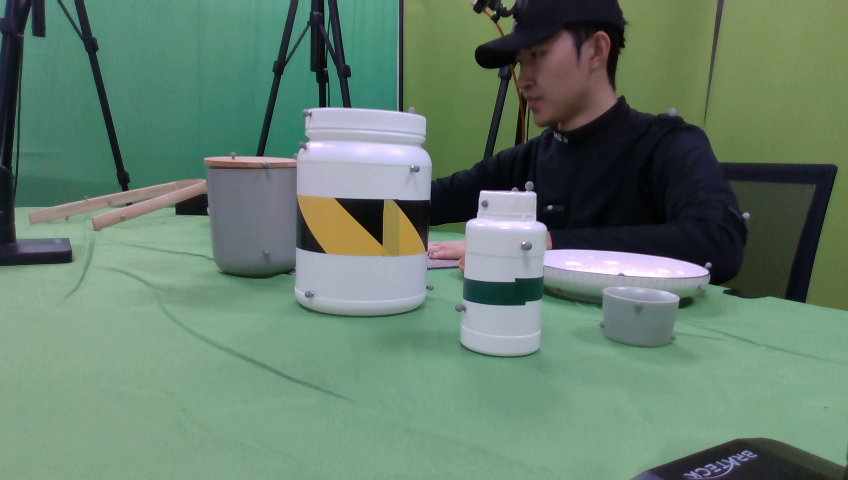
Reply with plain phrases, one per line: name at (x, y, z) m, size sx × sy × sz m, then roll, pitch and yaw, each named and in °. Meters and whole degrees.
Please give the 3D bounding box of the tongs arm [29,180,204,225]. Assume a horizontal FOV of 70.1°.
tongs arm at (-0.609, -0.083, 1.245) m, size 0.050 × 0.026 × 0.386 m, roll 5°, pitch 16°, yaw 23°

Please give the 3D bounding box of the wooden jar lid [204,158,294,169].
wooden jar lid at (-0.202, -0.086, 0.714) m, size 0.108 × 0.020 × 0.108 m, roll 3°, pitch 10°, yaw 0°

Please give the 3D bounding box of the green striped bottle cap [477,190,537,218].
green striped bottle cap at (0.062, -0.027, 0.453) m, size 0.044 × 0.020 × 0.044 m, roll 2°, pitch 5°, yaw 0°

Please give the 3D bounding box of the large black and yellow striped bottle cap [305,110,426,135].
large black and yellow striped bottle cap at (-0.055, -0.110, 0.574) m, size 0.115 × 0.019 × 0.115 m, roll 1°, pitch 7°, yaw 0°

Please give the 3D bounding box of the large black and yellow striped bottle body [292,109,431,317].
large black and yellow striped bottle body at (-0.060, -0.028, 0.585) m, size 0.131 × 0.184 × 0.130 m, roll 3°, pitch 7°, yaw 0°

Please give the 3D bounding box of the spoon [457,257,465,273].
spoon at (0.059, 0.044, 0.696) m, size 0.041 × 0.021 × 0.193 m, roll 21°, pitch 7°, yaw 0°

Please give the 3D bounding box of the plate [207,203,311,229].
plate at (-0.342, -0.050, 1.260) m, size 0.208 × 0.039 × 0.207 m, roll 3°, pitch 8°, yaw 0°

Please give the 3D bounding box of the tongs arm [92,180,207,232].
tongs arm at (-0.534, -0.076, 1.221) m, size 0.028 × 0.028 × 0.388 m, roll -2°, pitch 15°, yaw 12°

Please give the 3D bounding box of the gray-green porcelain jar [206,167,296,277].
gray-green porcelain jar at (-0.201, -0.024, 0.724) m, size 0.106 × 0.126 × 0.106 m, roll -1°, pitch 9°, yaw 1°

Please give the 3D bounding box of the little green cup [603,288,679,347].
little green cup at (0.180, 0.064, 0.505) m, size 0.061 × 0.038 × 0.061 m, roll 2°, pitch 7°, yaw 0°

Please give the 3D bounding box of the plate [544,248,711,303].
plate at (0.219, 0.041, 0.706) m, size 0.209 × 0.038 × 0.209 m, roll 2°, pitch 7°, yaw 0°

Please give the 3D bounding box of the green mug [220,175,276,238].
green mug at (-0.310, -0.060, 1.051) m, size 0.093 × 0.105 × 0.124 m, roll -2°, pitch 8°, yaw -31°

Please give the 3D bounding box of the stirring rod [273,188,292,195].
stirring rod at (-0.354, -0.122, 1.519) m, size 0.006 × 0.014 × 0.176 m, roll 2°, pitch 6°, yaw 1°

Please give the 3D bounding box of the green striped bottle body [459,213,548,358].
green striped bottle body at (0.061, 0.024, 0.460) m, size 0.063 × 0.119 × 0.063 m, roll 2°, pitch 7°, yaw 0°
